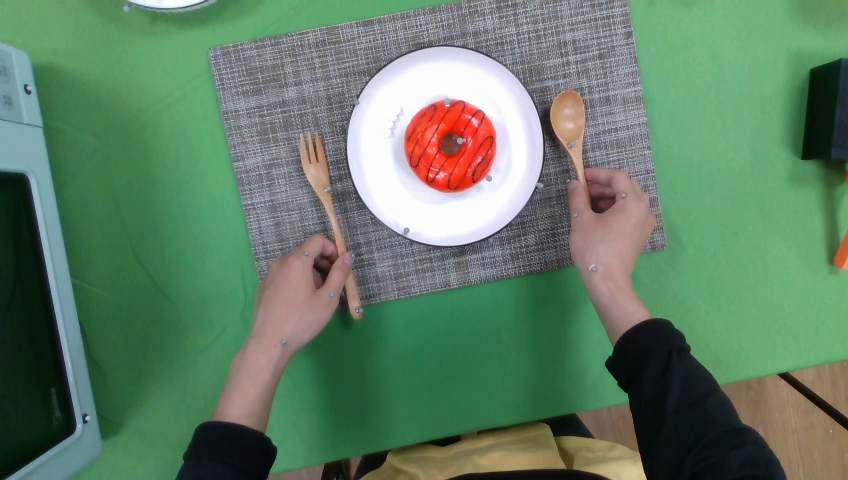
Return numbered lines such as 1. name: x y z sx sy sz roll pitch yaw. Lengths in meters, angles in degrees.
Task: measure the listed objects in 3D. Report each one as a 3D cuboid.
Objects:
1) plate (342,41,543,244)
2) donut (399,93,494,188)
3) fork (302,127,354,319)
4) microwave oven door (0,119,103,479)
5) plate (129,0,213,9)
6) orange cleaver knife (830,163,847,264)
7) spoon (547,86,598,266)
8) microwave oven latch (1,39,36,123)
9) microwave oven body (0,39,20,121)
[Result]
1. plate: 0.019 -0.101 0.641 0.209 0.038 0.209 0 95 -1
2. donut: 0.024 -0.103 0.629 0.099 0.048 0.099 0 97 1
3. fork: -0.100 -0.017 0.643 0.018 0.028 0.207 -16 92 6
4. microwave oven door: -0.391 0.065 0.532 0.039 0.243 0.356 -8 95 0
5. plate: -0.260 -0.339 0.618 0.208 0.039 0.208 0 95 -1
6. orange cleaver knife: 0.467 -0.073 0.633 0.012 0.076 0.213 4 124 1
7. spoon: 0.164 -0.067 0.648 0.042 0.021 0.193 -12 90 -21
8. microwave oven latch: -0.419 -0.160 0.613 0.030 0.029 0.079 -7 96 -1
9. microwave oven body: -0.541 0.042 0.532 0.326 0.259 0.442 -8 96 -1
